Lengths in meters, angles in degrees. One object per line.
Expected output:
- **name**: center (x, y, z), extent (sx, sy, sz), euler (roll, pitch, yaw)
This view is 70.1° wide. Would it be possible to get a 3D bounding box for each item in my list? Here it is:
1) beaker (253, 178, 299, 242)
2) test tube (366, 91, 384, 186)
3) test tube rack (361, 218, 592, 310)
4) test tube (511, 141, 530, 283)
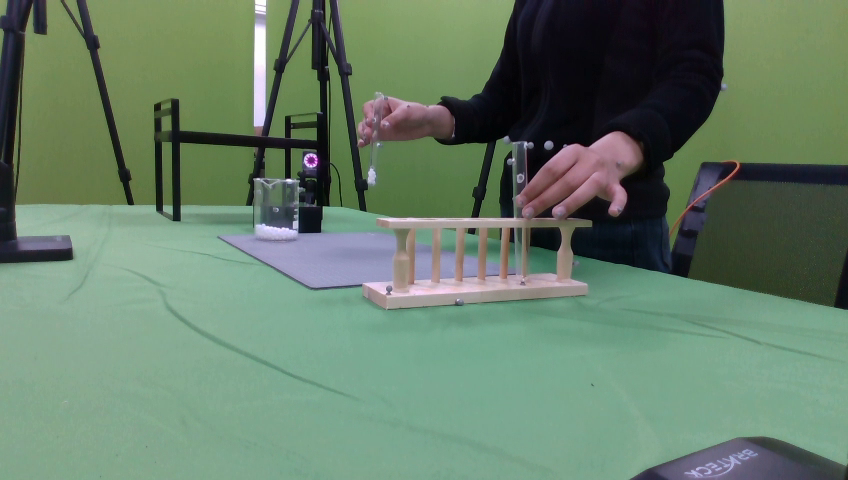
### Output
- **beaker**: center (-0.243, -0.050, 0.990), extent (0.074, 0.100, 0.084), euler (2, 9, 1)
- **test tube**: center (-0.079, -0.161, 0.961), extent (0.017, 0.150, 0.017), euler (5, -1, 0)
- **test tube rack**: center (0.060, 0.019, 0.640), extent (0.243, 0.085, 0.066), euler (-1, 9, -27)
- **test tube**: center (0.102, -0.028, 0.638), extent (0.017, 0.150, 0.017), euler (-3, 9, 1)
